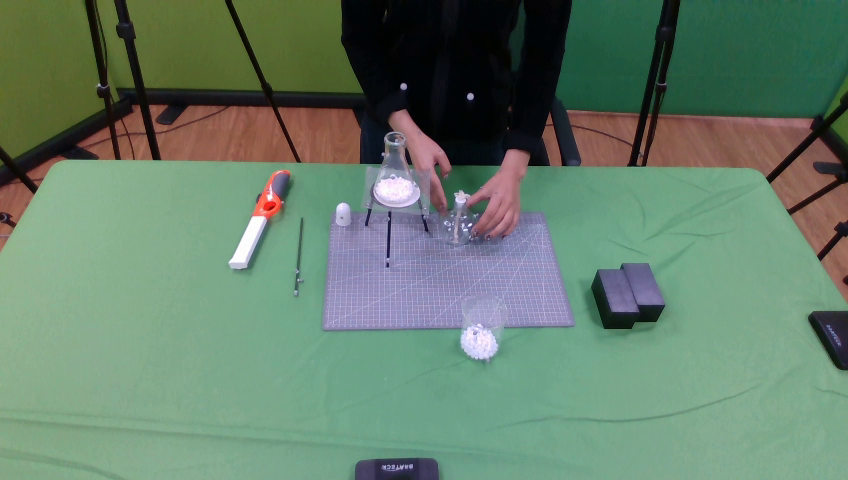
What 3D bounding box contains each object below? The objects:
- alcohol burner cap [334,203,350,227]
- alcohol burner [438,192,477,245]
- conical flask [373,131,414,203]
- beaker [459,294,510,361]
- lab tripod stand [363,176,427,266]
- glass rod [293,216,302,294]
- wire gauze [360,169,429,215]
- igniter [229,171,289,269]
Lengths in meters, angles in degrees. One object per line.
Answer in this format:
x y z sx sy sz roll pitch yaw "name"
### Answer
-0.166 -0.054 1.220 0.034 0.048 0.033 2 46 -2 "alcohol burner cap"
0.067 -0.047 1.183 0.078 0.119 0.077 4 44 -3 "alcohol burner"
-0.053 -0.131 1.067 0.075 0.122 0.075 2 44 -2 "conical flask"
0.095 0.147 1.012 0.083 0.101 0.074 26 49 21 "beaker"
-0.058 -0.047 1.159 0.148 0.132 0.147 3 44 -2 "lab tripod stand"
-0.242 0.024 1.166 0.008 0.008 0.198 -2 47 -5 "glass rod"
-0.052 -0.092 1.111 0.125 0.011 0.120 3 43 1 "wire gauze"
-0.328 -0.049 1.218 0.057 0.025 0.275 0 45 11 "igniter"
